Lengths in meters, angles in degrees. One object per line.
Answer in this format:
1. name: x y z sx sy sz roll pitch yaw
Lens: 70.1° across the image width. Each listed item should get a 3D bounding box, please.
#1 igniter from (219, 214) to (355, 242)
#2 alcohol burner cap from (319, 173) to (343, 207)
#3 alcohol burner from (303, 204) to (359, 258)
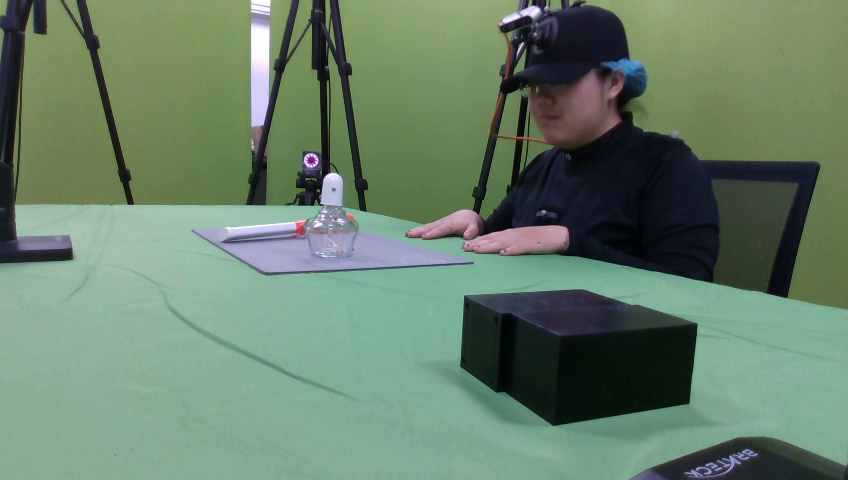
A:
1. igniter: -0.219 -0.021 1.033 0.057 0.025 0.278 -20 -7 39
2. alcohol burner cap: -0.129 -0.070 0.845 0.034 0.048 0.034 4 4 0
3. alcohol burner: -0.130 -0.034 0.850 0.078 0.119 0.078 2 5 0
